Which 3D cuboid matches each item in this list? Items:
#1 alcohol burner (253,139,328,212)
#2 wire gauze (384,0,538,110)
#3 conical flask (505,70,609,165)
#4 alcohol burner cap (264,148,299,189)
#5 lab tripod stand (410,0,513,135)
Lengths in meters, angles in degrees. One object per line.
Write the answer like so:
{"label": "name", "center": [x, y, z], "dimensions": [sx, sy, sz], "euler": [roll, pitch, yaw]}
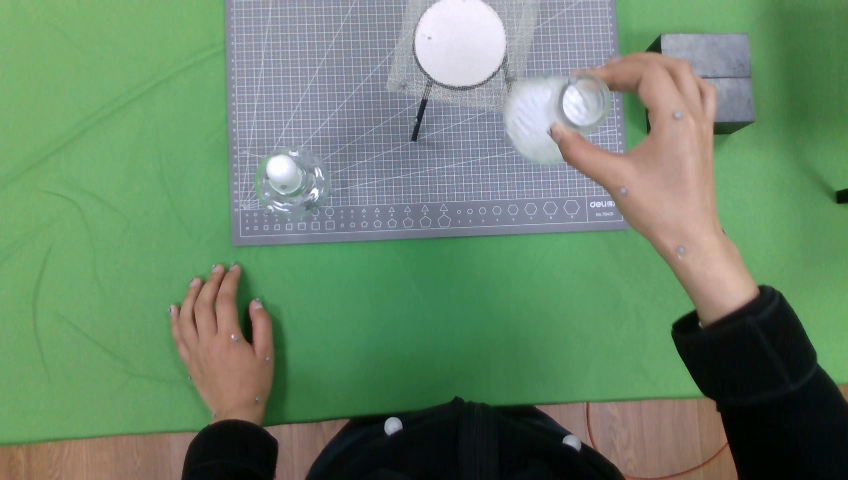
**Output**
{"label": "alcohol burner", "center": [-0.140, -0.069, 0.620], "dimensions": [0.078, 0.119, 0.078], "euler": [0, 87, -2]}
{"label": "wire gauze", "center": [0.037, -0.190, 0.561], "dimensions": [0.121, 0.011, 0.125], "euler": [15, 85, -1]}
{"label": "conical flask", "center": [0.106, -0.098, 0.463], "dimensions": [0.075, 0.121, 0.075], "euler": [0, 94, 0]}
{"label": "alcohol burner cap", "center": [-0.139, -0.071, 0.585], "dimensions": [0.034, 0.048, 0.033], "euler": [1, 81, -6]}
{"label": "lab tripod stand", "center": [0.028, -0.185, 0.628], "dimensions": [0.148, 0.131, 0.148], "euler": [0, 85, -1]}
